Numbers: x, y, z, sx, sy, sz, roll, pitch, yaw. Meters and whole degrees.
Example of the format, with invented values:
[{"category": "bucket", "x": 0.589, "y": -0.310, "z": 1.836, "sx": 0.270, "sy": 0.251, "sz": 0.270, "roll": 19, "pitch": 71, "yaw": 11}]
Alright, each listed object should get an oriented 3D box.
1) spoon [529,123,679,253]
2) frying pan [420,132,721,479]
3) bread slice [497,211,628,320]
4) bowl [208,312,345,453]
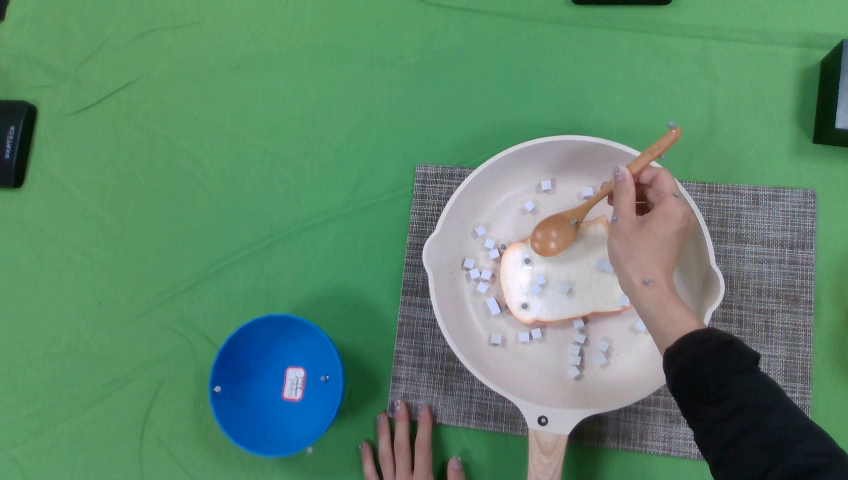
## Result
[{"category": "spoon", "x": 0.178, "y": -0.049, "z": 0.614, "sx": 0.194, "sy": 0.022, "sz": 0.041, "roll": -45, "pitch": 73, "yaw": 38}, {"category": "frying pan", "x": 0.133, "y": 0.130, "z": 0.629, "sx": 0.306, "sy": 0.103, "sz": 0.485, "roll": 8, "pitch": 74, "yaw": 11}, {"category": "bread slice", "x": 0.151, "y": 0.037, "z": 0.681, "sx": 0.134, "sy": 0.018, "sz": 0.106, "roll": -16, "pitch": 80, "yaw": 4}, {"category": "bowl", "x": -0.154, "y": 0.157, "z": 0.685, "sx": 0.151, "sy": 0.077, "sz": 0.151, "roll": -1, "pitch": 81, "yaw": 8}]
